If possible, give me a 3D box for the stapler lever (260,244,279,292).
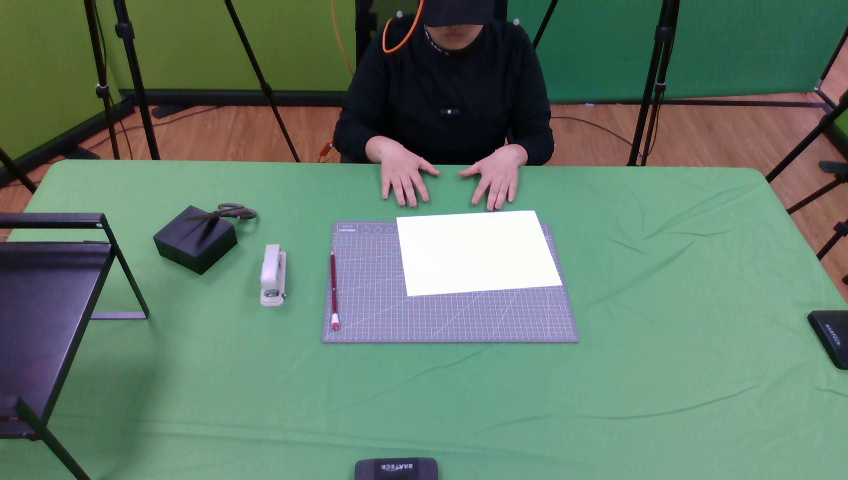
[{"bbox_3d":[-0.279,0.045,1.096,0.027,0.040,0.117,-2,44,-9],"label":"stapler lever"}]

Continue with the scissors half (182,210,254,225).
[{"bbox_3d":[-0.390,-0.042,1.158,0.040,0.013,0.175,42,21,22],"label":"scissors half"}]

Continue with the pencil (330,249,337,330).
[{"bbox_3d":[-0.167,0.085,1.106,0.012,0.012,0.192,-3,45,-7],"label":"pencil"}]

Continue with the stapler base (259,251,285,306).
[{"bbox_3d":[-0.279,0.064,1.113,0.041,0.024,0.129,-2,44,-9],"label":"stapler base"}]

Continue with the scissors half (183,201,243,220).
[{"bbox_3d":[-0.405,-0.054,1.163,0.040,0.013,0.175,30,18,7],"label":"scissors half"}]
